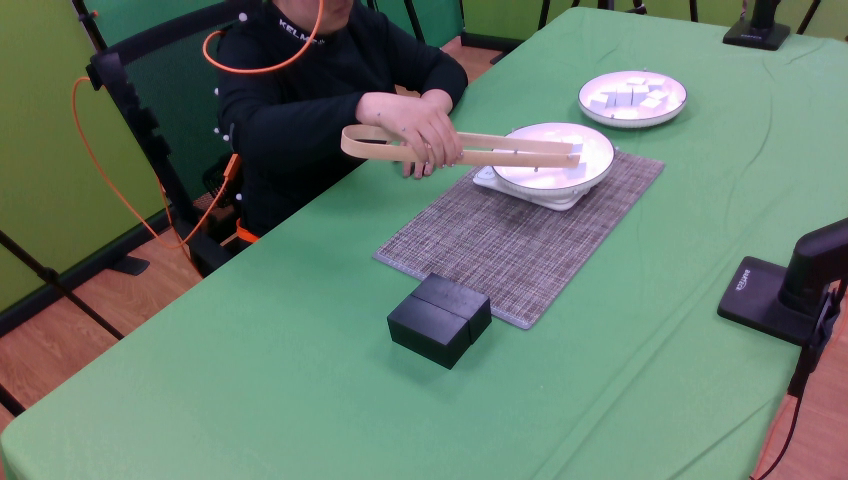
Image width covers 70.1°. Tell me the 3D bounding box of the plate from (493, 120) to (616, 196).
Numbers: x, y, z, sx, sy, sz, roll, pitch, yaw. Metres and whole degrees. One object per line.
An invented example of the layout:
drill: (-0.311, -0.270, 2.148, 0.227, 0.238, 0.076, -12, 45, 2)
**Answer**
plate: (0.221, -0.137, 1.038, 0.207, 0.039, 0.206, -6, 41, 5)

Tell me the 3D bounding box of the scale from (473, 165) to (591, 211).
scale: (0.202, -0.121, 1.074, 0.199, 0.032, 0.149, 23, 49, 33)

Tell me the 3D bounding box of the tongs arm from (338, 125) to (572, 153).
tongs arm: (0.058, -0.155, 0.956, 0.389, 0.028, 0.028, 1, 43, -16)

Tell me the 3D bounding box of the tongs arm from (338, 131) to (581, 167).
tongs arm: (0.063, -0.139, 0.937, 0.387, 0.026, 0.050, -1, 40, -18)

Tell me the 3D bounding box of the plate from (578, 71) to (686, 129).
plate: (0.416, -0.279, 1.222, 0.209, 0.038, 0.208, -5, 41, 5)
